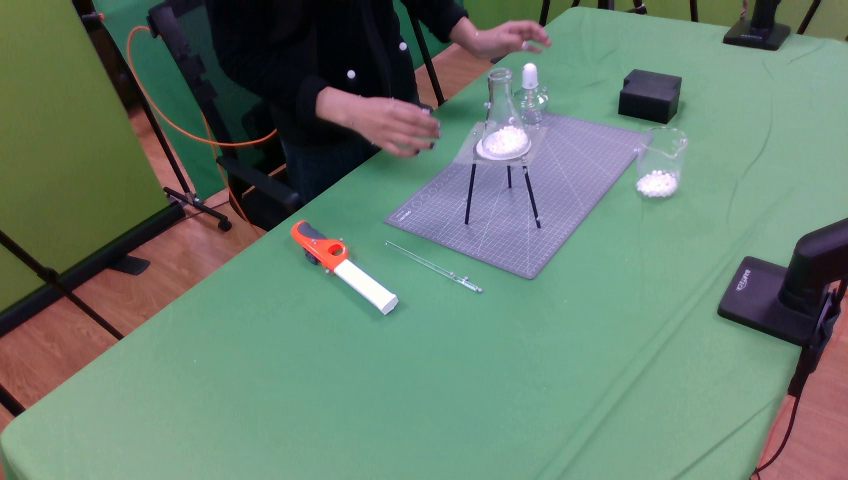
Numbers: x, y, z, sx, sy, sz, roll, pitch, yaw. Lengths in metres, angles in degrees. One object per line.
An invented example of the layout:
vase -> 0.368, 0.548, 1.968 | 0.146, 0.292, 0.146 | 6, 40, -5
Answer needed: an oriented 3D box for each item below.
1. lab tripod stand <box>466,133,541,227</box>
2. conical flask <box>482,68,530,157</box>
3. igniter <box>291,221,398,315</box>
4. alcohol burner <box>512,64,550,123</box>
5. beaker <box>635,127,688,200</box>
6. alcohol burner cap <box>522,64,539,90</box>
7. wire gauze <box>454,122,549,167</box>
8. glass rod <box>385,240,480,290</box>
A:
lab tripod stand -> 0.130, -0.099, 0.985 | 0.148, 0.132, 0.147 | -6, 38, 6
conical flask -> 0.118, -0.192, 0.902 | 0.075, 0.122, 0.075 | -7, 39, 6
igniter -> -0.136, 0.037, 0.962 | 0.057, 0.025, 0.274 | -41, 48, -18
alcohol burner -> 0.215, -0.298, 1.220 | 0.078, 0.120, 0.077 | -7, 41, 7
beaker -> 0.388, -0.122, 0.994 | 0.074, 0.101, 0.083 | -8, 41, 2
alcohol burner cap -> 0.210, -0.324, 1.195 | 0.034, 0.048, 0.033 | -6, 45, 7
wire gauze -> 0.122, -0.149, 0.943 | 0.121, 0.011, 0.125 | 7, 44, 22
glass rod -> 0.009, 0.037, 0.950 | 0.198, 0.008, 0.008 | 26, 52, 35
